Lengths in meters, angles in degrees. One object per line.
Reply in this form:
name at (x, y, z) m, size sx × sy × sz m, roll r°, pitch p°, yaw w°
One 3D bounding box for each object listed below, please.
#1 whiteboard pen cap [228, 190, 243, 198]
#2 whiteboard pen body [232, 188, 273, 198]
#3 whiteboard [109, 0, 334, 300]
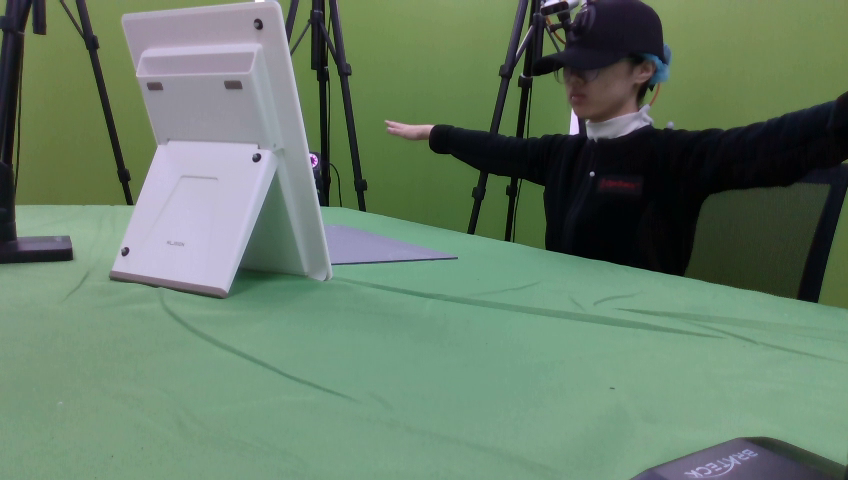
whiteboard pen cap at (-0.388, -0.096, 1.248) m, size 0.018 × 0.018 × 0.033 m, roll 4°, pitch 8°, yaw 18°
whiteboard pen body at (-0.370, -0.101, 1.303) m, size 0.017 × 0.017 × 0.141 m, roll 4°, pitch 8°, yaw 18°
whiteboard at (-0.247, -0.072, 0.624) m, size 0.216 × 0.305 × 0.144 m, roll 6°, pitch 28°, yaw 26°
